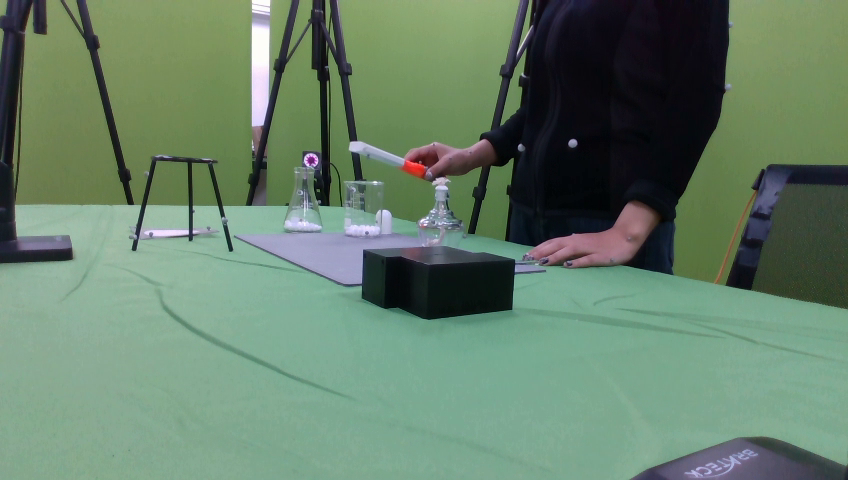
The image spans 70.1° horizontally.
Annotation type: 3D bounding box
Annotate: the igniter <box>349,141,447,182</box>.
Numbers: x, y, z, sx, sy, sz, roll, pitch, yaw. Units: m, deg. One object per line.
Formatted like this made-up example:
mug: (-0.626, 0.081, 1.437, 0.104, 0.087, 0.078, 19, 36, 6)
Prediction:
igniter: (-0.042, -0.151, 1.179, 0.057, 0.025, 0.278, 9, -2, 35)

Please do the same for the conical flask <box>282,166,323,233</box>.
conical flask: (-0.225, -0.077, 1.130, 0.075, 0.122, 0.075, 2, 8, 0)

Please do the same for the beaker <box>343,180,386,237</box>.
beaker: (-0.111, -0.058, 1.090, 0.083, 0.100, 0.074, 7, 8, 33)

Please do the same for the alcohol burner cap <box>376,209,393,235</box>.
alcohol burner cap: (-0.075, -0.035, 1.150, 0.034, 0.048, 0.034, 2, 7, 0)

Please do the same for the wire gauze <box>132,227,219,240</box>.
wire gauze: (-0.421, -0.014, 1.024, 0.122, 0.011, 0.124, -2, 7, -34)

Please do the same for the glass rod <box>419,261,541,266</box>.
glass rod: (0.080, 0.031, 0.807, 0.201, 0.008, 0.008, 1, 6, -32)

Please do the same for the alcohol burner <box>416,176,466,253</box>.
alcohol burner: (0.027, -0.040, 0.934, 0.078, 0.119, 0.078, 2, 9, 0)

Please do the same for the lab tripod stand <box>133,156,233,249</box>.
lab tripod stand: (-0.342, -0.054, 0.878, 0.148, 0.131, 0.148, 4, 6, 0)
